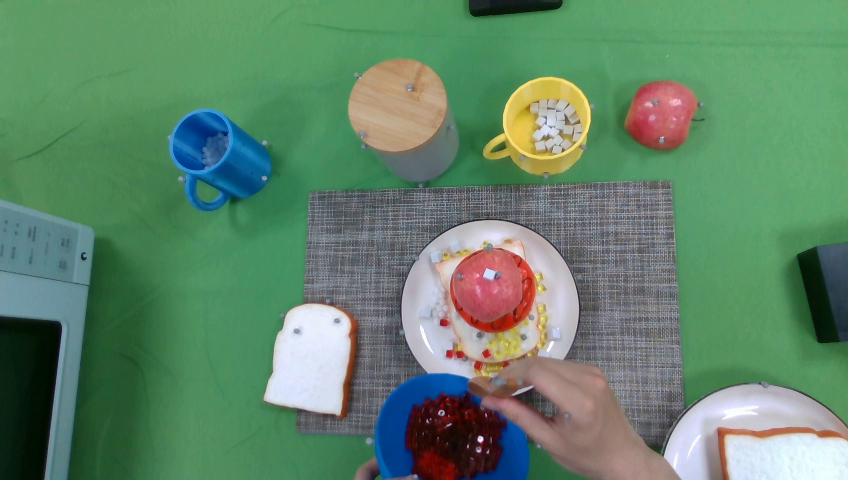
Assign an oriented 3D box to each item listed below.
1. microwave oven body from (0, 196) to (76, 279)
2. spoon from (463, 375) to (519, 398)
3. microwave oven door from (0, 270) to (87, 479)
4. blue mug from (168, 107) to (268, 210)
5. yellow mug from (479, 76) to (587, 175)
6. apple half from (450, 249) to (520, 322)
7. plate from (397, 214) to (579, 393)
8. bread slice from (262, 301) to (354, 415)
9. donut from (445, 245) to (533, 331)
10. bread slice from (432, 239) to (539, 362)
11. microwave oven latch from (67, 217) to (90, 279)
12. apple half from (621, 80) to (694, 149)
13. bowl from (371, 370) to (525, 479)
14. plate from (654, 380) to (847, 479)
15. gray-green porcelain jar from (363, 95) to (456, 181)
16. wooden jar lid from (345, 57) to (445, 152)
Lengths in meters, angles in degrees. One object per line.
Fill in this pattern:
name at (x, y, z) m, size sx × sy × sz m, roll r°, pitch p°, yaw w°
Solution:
microwave oven body at (-0.628, 0.169, 0.696) m, size 0.325 × 0.261 × 0.440 m, roll -1°, pitch 80°, yaw 10°
spoon at (0.061, 0.128, 0.523) m, size 0.041 × 0.194 × 0.021 m, roll 18°, pitch 77°, yaw 2°
microwave oven door at (-0.486, 0.208, 0.659) m, size 0.039 × 0.245 × 0.354 m, roll -1°, pitch 79°, yaw 10°
blue mug at (-0.263, -0.093, 0.764) m, size 0.082 × 0.106 × 0.116 m, roll 20°, pitch 84°, yaw 13°
yellow mug at (0.127, -0.129, 0.723) m, size 0.131 × 0.064 × 0.099 m, roll -23°, pitch 77°, yaw 6°
apple half at (0.064, 0.047, 0.647) m, size 0.081 × 0.033 × 0.081 m, roll -4°, pitch 76°, yaw 16°
plate at (0.073, 0.075, 0.707) m, size 0.207 × 0.039 × 0.207 m, roll -2°, pitch 80°, yaw 10°
bread slice at (-0.141, 0.141, 0.743) m, size 0.104 × 0.019 × 0.131 m, roll 7°, pitch 83°, yaw 10°
donut at (0.073, 0.054, 0.682) m, size 0.099 × 0.048 × 0.098 m, roll -2°, pitch 80°, yaw 10°
bread slice at (0.079, 0.073, 0.708) m, size 0.107 × 0.018 × 0.133 m, roll -18°, pitch 77°, yaw 7°
microwave oven latch at (-0.462, 0.011, 0.795) m, size 0.030 × 0.029 × 0.079 m, roll 3°, pitch 81°, yaw 10°
apple half at (0.274, -0.153, 0.709) m, size 0.074 × 0.053 × 0.080 m, roll 22°, pitch 85°, yaw 16°
bowl at (0.015, 0.213, 0.596) m, size 0.152 × 0.077 × 0.150 m, roll 11°, pitch 41°, yaw -9°
plate at (0.346, 0.251, 0.631) m, size 0.209 × 0.038 × 0.208 m, roll -2°, pitch 79°, yaw 10°
gray-green porcelain jar at (-0.018, -0.133, 0.718) m, size 0.105 × 0.127 × 0.105 m, roll -2°, pitch 79°, yaw 10°
wooden jar lid at (-0.030, -0.145, 0.656) m, size 0.108 × 0.021 × 0.108 m, roll -2°, pitch 78°, yaw 7°
